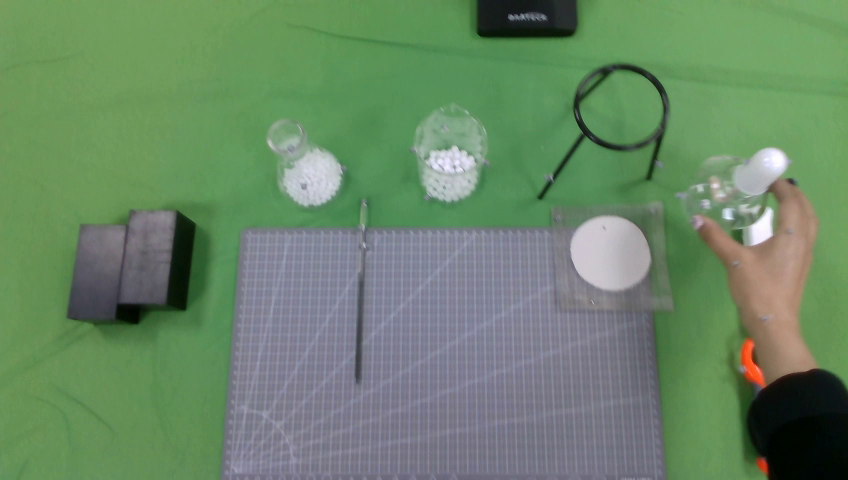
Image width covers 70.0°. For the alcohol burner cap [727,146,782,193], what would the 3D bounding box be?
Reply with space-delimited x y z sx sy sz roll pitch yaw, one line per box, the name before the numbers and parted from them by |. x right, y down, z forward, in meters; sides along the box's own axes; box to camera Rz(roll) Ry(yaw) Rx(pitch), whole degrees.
alcohol burner cap | 0.295 -0.065 0.536 0.034 0.048 0.033 1 70 -1

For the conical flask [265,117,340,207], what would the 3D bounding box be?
conical flask | -0.133 -0.087 0.636 0.075 0.122 0.075 0 76 1

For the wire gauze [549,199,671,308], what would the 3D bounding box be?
wire gauze | 0.203 0.014 0.664 0.125 0.011 0.121 -1 76 0

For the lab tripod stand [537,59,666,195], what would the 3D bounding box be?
lab tripod stand | 0.183 -0.111 0.633 0.148 0.132 0.147 0 78 1

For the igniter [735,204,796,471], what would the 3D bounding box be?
igniter | 0.355 0.097 0.635 0.057 0.025 0.275 4 77 -8

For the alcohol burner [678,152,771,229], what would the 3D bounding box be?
alcohol burner | 0.292 -0.053 0.570 0.078 0.119 0.077 1 75 -5

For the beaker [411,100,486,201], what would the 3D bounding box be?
beaker | 0.025 -0.091 0.648 0.074 0.101 0.083 2 75 1

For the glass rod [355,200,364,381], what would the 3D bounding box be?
glass rod | -0.070 0.052 0.657 0.008 0.008 0.198 0 76 0
